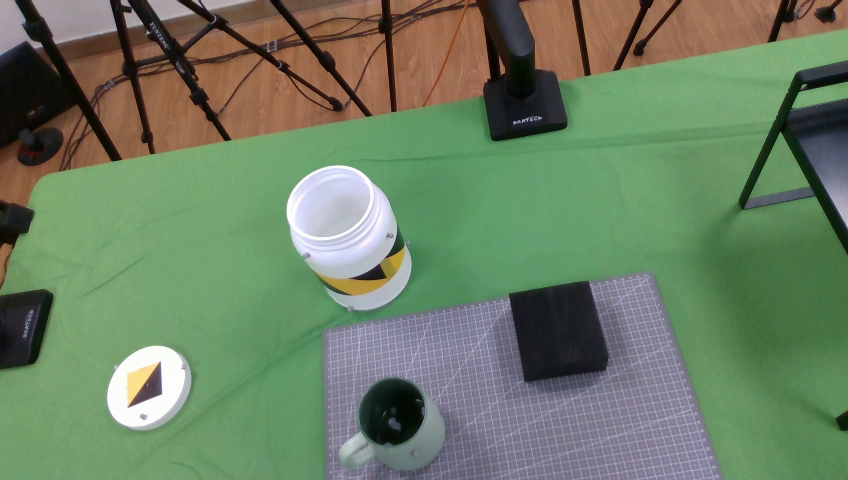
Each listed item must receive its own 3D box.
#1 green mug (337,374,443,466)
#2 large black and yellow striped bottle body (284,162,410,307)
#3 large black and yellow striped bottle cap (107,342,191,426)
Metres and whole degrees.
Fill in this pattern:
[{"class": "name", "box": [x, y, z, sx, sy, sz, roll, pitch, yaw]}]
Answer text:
[{"class": "green mug", "box": [-0.042, 0.217, 0.701, 0.125, 0.106, 0.091, -33, 60, -8]}, {"class": "large black and yellow striped bottle body", "box": [-0.098, -0.005, 0.794, 0.130, 0.186, 0.129, -5, 59, 9]}, {"class": "large black and yellow striped bottle cap", "box": [-0.378, 0.196, 0.832, 0.115, 0.019, 0.114, -5, 59, 8]}]
